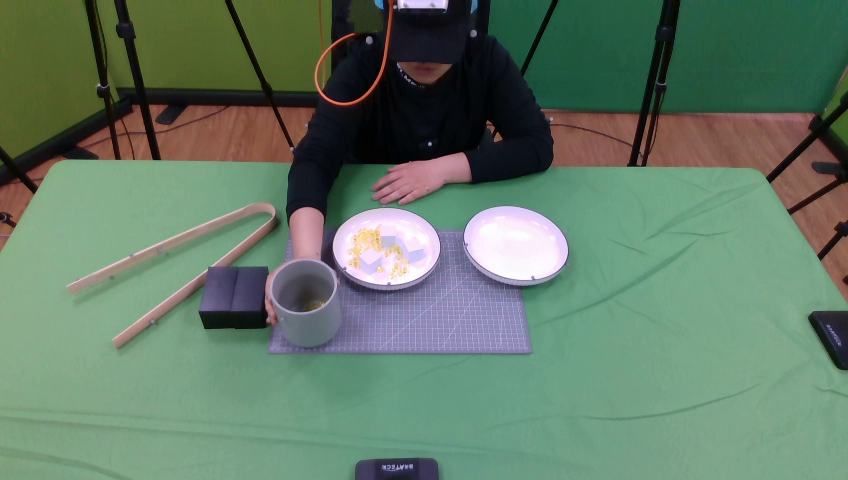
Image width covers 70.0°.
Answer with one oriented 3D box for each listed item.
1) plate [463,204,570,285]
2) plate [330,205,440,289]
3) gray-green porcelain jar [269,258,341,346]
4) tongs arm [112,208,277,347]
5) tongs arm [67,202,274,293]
[{"bbox_3d":[0.178,0.012,1.184,0.209,0.038,0.208,3,46,-3],"label":"plate"},{"bbox_3d":[-0.074,0.017,1.160,0.208,0.039,0.206,2,46,-2],"label":"plate"},{"bbox_3d":[-0.192,0.108,0.997,0.106,0.127,0.105,2,53,-2],"label":"gray-green porcelain jar"},{"bbox_3d":[-0.401,0.058,1.108,0.028,0.028,0.387,26,49,23],"label":"tongs arm"},{"bbox_3d":[-0.461,0.013,1.142,0.385,0.026,0.050,-31,56,-31],"label":"tongs arm"}]
